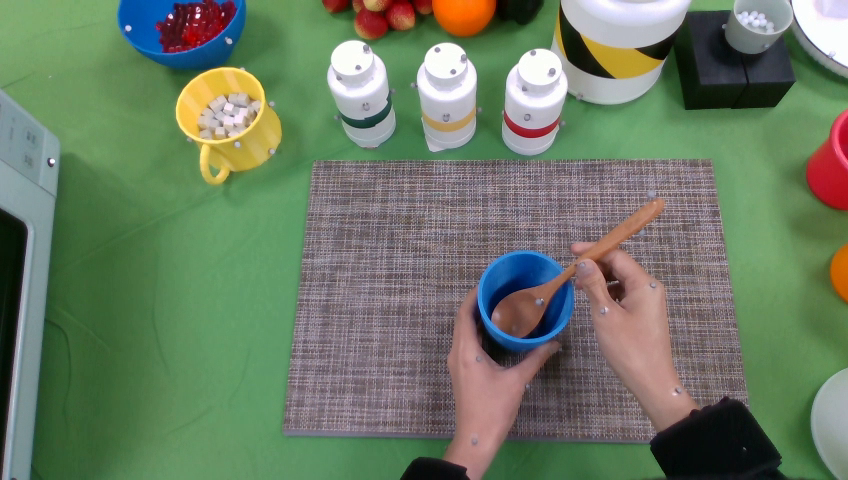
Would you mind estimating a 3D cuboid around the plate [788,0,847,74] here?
[{"bbox_3d":[0.527,-0.269,0.710,0.209,0.038,0.207,-1,70,3],"label":"plate"}]

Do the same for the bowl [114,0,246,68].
[{"bbox_3d":[-0.283,-0.266,0.740,0.151,0.077,0.150,-1,69,3],"label":"bowl"}]

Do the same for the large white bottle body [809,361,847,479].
[{"bbox_3d":[0.418,0.142,0.481,0.130,0.186,0.129,-1,68,4],"label":"large white bottle body"}]

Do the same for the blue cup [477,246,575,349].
[{"bbox_3d":[0.092,0.063,0.575,0.092,0.101,0.092,-1,69,3],"label":"blue cup"}]

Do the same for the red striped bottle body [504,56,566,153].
[{"bbox_3d":[0.117,-0.150,0.648,0.063,0.120,0.062,-3,66,7],"label":"red striped bottle body"}]

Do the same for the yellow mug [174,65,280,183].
[{"bbox_3d":[-0.227,-0.126,0.690,0.100,0.064,0.130,10,70,7],"label":"yellow mug"}]

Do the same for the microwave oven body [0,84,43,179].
[{"bbox_3d":[-0.566,0.054,0.535,0.326,0.262,0.438,-9,69,0],"label":"microwave oven body"}]

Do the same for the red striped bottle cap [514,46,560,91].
[{"bbox_3d":[0.112,-0.170,0.599,0.044,0.018,0.044,0,68,0],"label":"red striped bottle cap"}]

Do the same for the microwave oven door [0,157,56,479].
[{"bbox_3d":[-0.417,0.069,0.514,0.039,0.245,0.353,-9,69,1],"label":"microwave oven door"}]

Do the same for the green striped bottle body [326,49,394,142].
[{"bbox_3d":[-0.070,-0.164,0.666,0.063,0.120,0.062,-1,68,3],"label":"green striped bottle body"}]

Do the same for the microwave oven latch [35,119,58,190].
[{"bbox_3d":[-0.438,-0.096,0.687,0.030,0.030,0.078,-7,69,1],"label":"microwave oven latch"}]

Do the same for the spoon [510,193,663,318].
[{"bbox_3d":[0.128,0.024,0.526,0.022,0.194,0.041,-4,57,-47],"label":"spoon"}]

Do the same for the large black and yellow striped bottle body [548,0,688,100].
[{"bbox_3d":[0.208,-0.252,0.647,0.131,0.185,0.130,-1,69,4],"label":"large black and yellow striped bottle body"}]

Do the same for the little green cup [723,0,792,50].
[{"bbox_3d":[0.358,-0.239,0.656,0.061,0.039,0.061,-1,68,2],"label":"little green cup"}]

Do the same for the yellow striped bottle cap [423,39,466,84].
[{"bbox_3d":[0.021,-0.180,0.610,0.044,0.019,0.044,-1,70,3],"label":"yellow striped bottle cap"}]

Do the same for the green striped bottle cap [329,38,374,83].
[{"bbox_3d":[-0.074,-0.183,0.617,0.044,0.020,0.044,-1,68,3],"label":"green striped bottle cap"}]

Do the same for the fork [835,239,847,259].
[{"bbox_3d":[0.475,0.035,0.538,0.028,0.019,0.205,-34,26,-14],"label":"fork"}]

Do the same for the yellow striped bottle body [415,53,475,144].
[{"bbox_3d":[0.024,-0.161,0.658,0.063,0.121,0.062,-2,68,4],"label":"yellow striped bottle body"}]
